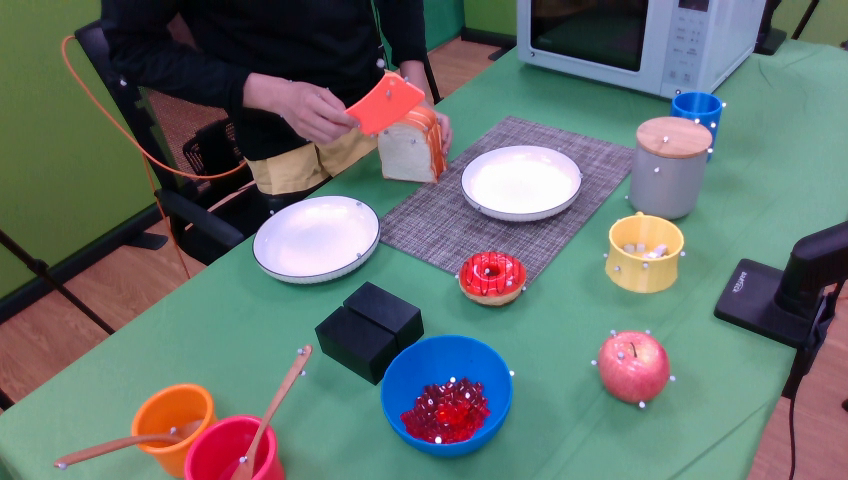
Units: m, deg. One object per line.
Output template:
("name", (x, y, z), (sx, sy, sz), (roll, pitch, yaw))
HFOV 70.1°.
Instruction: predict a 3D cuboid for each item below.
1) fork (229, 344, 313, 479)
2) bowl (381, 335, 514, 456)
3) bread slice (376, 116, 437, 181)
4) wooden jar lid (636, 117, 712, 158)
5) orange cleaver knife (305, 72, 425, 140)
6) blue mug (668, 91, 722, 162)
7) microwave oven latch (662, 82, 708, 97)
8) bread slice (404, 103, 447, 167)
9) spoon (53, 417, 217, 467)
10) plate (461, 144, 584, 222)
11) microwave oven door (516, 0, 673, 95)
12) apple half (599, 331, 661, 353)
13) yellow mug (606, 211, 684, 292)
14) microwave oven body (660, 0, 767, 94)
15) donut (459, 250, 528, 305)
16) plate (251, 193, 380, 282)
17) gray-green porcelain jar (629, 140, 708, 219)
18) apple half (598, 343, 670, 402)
("fork", (-0.173, 0.205, 0.662), (0.028, 0.019, 0.207), (29, 94, 36))
("bowl", (0.029, 0.192, 0.701), (0.151, 0.077, 0.150), (-4, 40, 4))
("bread slice", (-0.036, -0.162, 1.075), (0.106, 0.135, 0.018), (5, 49, 18))
("wooden jar lid", (0.377, -0.151, 0.917), (0.108, 0.021, 0.108), (-2, 42, 3))
("orange cleaver knife", (-0.094, -0.193, 0.935), (0.210, 0.078, 0.012), (-23, 44, 32))
("blue mug", (0.474, -0.207, 1.078), (0.082, 0.106, 0.116), (4, 42, 13))
("microwave oven latch", (0.517, -0.298, 1.202), (0.078, 0.029, 0.030), (27, 52, 34))
("bread slice", (-0.013, -0.192, 1.112), (0.104, 0.132, 0.019), (6, 45, 17))
("spoon", (-0.308, 0.219, 0.663), (0.041, 0.195, 0.021), (24, 94, 29))
("plate", (0.167, -0.095, 1.040), (0.207, 0.039, 0.206), (-4, 40, 4))
("microwave oven door", (0.344, -0.458, 1.256), (0.353, 0.245, 0.039), (26, 51, 33))
("apple half", (0.249, 0.134, 0.738), (0.081, 0.081, 0.032), (-1, 46, 7))
("yellow mug", (0.318, 0.008, 0.883), (0.100, 0.064, 0.130), (0, 40, 9))
("microwave oven body", (0.473, -0.516, 1.313), (0.438, 0.261, 0.327), (26, 51, 34))
("donut", (0.100, 0.053, 0.872), (0.099, 0.048, 0.098), (-5, 41, 4))
("plate", (-0.174, -0.001, 0.984), (0.209, 0.038, 0.208), (-4, 40, 3))
("gray-green porcelain jar", (0.383, -0.105, 0.958), (0.106, 0.127, 0.105), (-4, 41, 4))
("apple half", (0.247, 0.161, 0.710), (0.081, 0.075, 0.053), (2, 47, 5))
